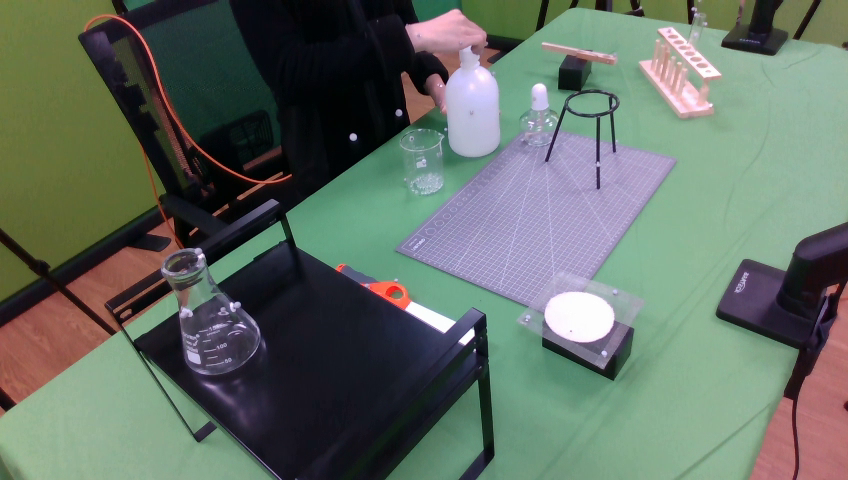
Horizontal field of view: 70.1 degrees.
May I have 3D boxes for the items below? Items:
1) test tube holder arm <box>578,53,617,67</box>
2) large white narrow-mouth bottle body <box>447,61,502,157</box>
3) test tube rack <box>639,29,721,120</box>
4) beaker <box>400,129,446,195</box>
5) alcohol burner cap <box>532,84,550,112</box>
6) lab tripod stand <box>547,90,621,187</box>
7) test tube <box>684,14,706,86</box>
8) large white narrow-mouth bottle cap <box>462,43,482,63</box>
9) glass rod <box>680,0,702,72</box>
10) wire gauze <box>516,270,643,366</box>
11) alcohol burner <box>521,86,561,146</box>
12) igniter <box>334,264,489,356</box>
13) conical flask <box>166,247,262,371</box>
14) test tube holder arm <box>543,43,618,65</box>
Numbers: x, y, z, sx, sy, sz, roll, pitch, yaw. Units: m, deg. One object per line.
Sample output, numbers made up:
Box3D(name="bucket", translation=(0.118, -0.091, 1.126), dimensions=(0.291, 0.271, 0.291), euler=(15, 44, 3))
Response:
Box3D(name="test tube holder arm", translation=(0.376, -0.393, 1.314), dimensions=(0.087, 0.015, 0.010), euler=(26, 51, 32))
Box3D(name="large white narrow-mouth bottle body", translation=(0.094, -0.261, 1.142), dimensions=(0.102, 0.195, 0.101), euler=(-4, 40, 4))
Box3D(name="test tube rack", translation=(0.527, -0.351, 1.262), dimensions=(0.067, 0.085, 0.241), euler=(-8, 40, 1))
Box3D(name="beaker", translation=(0.004, -0.140, 1.087), dimensions=(0.084, 0.101, 0.073), euler=(-20, 42, -14))
Box3D(name="alcohol burner cap", translation=(0.218, -0.269, 1.133), dimensions=(0.034, 0.048, 0.033), euler=(-9, 36, 7))
Box3D(name="lab tripod stand", translation=(0.289, -0.184, 1.062), dimensions=(0.148, 0.132, 0.147), euler=(-6, 41, 6))
Box3D(name="test tube", translation=(0.540, -0.378, 1.215), dimensions=(0.017, 0.151, 0.017), euler=(-2, 44, 3))
Box3D(name="large white narrow-mouth bottle cap", translation=(0.085, -0.334, 1.080), dimensions=(0.038, 0.024, 0.037), euler=(-4, 40, 4))
Box3D(name="glass rod", translation=(0.543, -0.417, 1.233), dimensions=(0.008, 0.200, 0.008), euler=(1, 40, 0))
Box3D(name="wire gauze", translation=(0.200, 0.093, 0.777), dimensions=(0.124, 0.011, 0.122), euler=(23, 49, 32))
Box3D(name="alcohol burner", translation=(0.223, -0.241, 1.155), dimensions=(0.078, 0.119, 0.077), euler=(-5, 43, 5))
Box3D(name="igniter", translation=(-0.030, 0.095, 0.871), dimensions=(0.274, 0.025, 0.057), euler=(22, 59, 31))
Box3D(name="conical flask", translation=(-0.208, 0.064, 0.584), dimensions=(0.075, 0.122, 0.075), euler=(-5, 40, 4))
Box3D(name="test tube holder arm", translation=(0.345, -0.413, 1.341), dimensions=(0.177, 0.015, 0.013), euler=(25, 50, 31))
